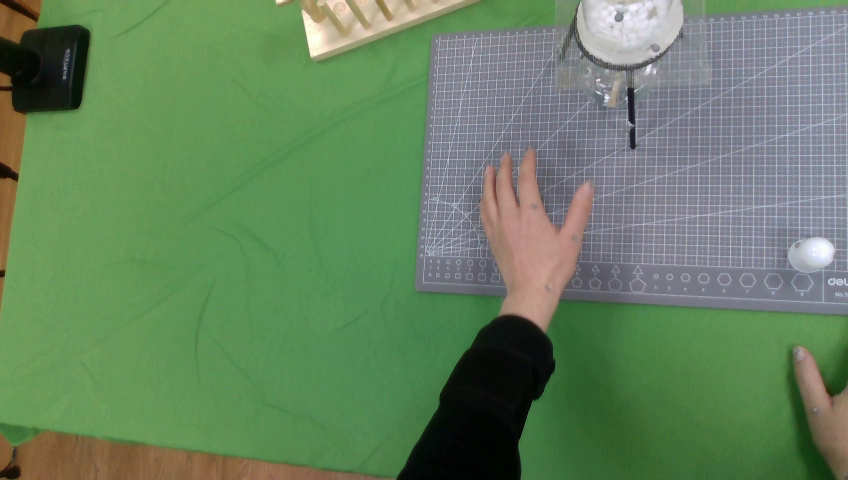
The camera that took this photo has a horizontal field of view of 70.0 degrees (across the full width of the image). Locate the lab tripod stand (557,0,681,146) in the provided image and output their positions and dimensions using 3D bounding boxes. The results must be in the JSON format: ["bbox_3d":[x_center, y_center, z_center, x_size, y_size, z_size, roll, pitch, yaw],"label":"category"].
[{"bbox_3d":[0.191,-0.176,0.575,0.148,0.132,0.148,-2,83,15],"label":"lab tripod stand"}]

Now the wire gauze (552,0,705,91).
[{"bbox_3d":[0.172,-0.186,0.513,0.125,0.011,0.121,1,87,14],"label":"wire gauze"}]

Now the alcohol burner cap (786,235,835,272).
[{"bbox_3d":[0.354,0.010,0.551,0.034,0.048,0.033,-2,81,16],"label":"alcohol burner cap"}]

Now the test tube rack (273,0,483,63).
[{"bbox_3d":[-0.043,-0.287,0.687,0.242,0.085,0.066,-16,78,14],"label":"test tube rack"}]

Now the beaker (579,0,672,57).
[{"bbox_3d":[0.153,-0.193,0.468,0.083,0.101,0.074,15,88,18],"label":"beaker"}]

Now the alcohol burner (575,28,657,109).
[{"bbox_3d":[0.186,-0.172,0.586,0.077,0.120,0.077,-2,82,15],"label":"alcohol burner"}]
